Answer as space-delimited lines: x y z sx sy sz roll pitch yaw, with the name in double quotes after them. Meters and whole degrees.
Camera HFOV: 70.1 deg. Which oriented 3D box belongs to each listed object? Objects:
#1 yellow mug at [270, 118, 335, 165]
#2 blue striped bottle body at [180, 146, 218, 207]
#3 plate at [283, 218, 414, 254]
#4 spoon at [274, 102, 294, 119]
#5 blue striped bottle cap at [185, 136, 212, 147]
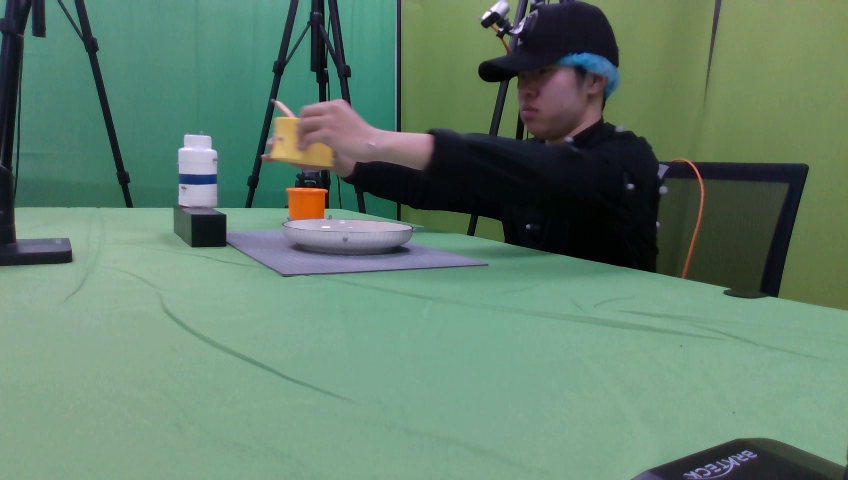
-0.195 -0.158 0.977 0.100 0.064 0.130 4 4 -15 "yellow mug"
-0.392 -0.119 1.053 0.063 0.120 0.063 2 8 0 "blue striped bottle body"
-0.120 -0.007 0.971 0.208 0.039 0.207 2 7 0 "plate"
-0.222 -0.195 1.027 0.042 0.021 0.193 7 33 -35 "spoon"
-0.390 -0.169 1.047 0.044 0.020 0.044 4 10 0 "blue striped bottle cap"
